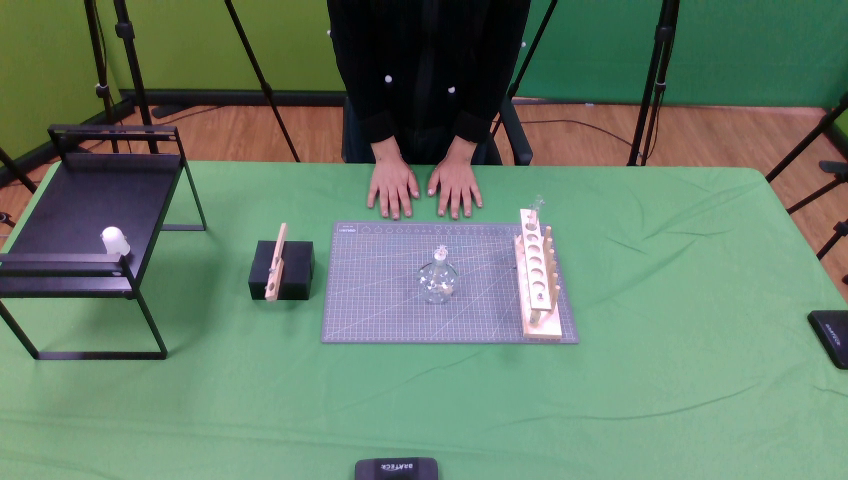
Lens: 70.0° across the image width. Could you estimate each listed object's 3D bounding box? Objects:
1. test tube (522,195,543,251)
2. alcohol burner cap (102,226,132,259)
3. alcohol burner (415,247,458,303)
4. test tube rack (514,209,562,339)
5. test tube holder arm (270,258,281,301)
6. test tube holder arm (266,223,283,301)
[{"bbox_3d":[0.200,-0.028,1.125,0.017,0.151,0.017,1,50,-1],"label":"test tube"},{"bbox_3d":[-0.457,0.001,0.897,0.034,0.048,0.033,1,46,-1],"label":"alcohol burner cap"},{"bbox_3d":[0.024,0.057,1.078,0.078,0.119,0.077,3,44,-2],"label":"alcohol burner"},{"bbox_3d":[0.212,0.056,1.113,0.067,0.085,0.241,3,46,-1],"label":"test tube rack"},{"bbox_3d":[-0.257,0.067,1.049,0.010,0.015,0.087,-4,46,-1],"label":"test tube holder arm"},{"bbox_3d":[-0.266,0.035,1.080,0.013,0.015,0.177,-5,46,-2],"label":"test tube holder arm"}]
